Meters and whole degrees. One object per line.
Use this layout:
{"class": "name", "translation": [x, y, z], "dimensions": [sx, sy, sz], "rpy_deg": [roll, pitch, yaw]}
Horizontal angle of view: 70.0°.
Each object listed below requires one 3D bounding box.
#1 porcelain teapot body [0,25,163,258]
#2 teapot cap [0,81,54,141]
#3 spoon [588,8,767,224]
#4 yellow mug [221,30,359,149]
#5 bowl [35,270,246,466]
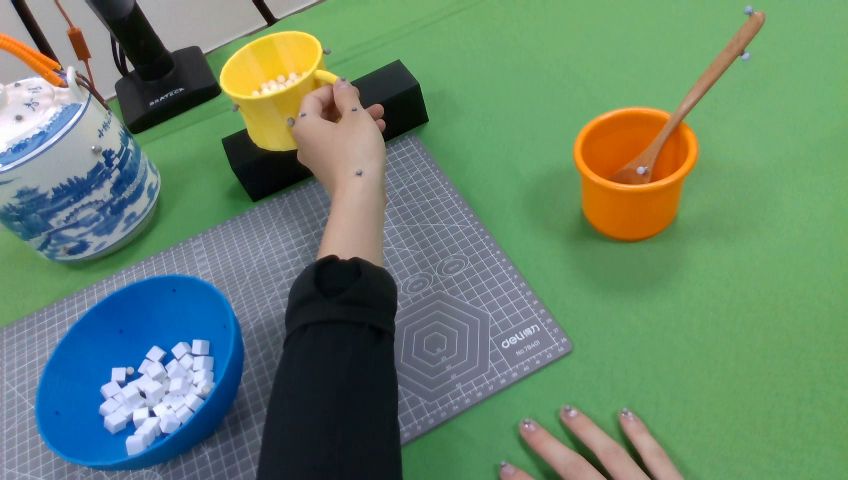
{"class": "porcelain teapot body", "translation": [-0.389, -0.082, 0.564], "dimensions": [0.205, 0.228, 0.143], "rpy_deg": [-23, 52, -2]}
{"class": "teapot cap", "translation": [-0.370, -0.115, 0.534], "dimensions": [0.085, 0.044, 0.084], "rpy_deg": [-8, 53, 11]}
{"class": "spoon", "translation": [0.195, -0.091, 0.473], "dimensions": [0.022, 0.194, 0.041], "rpy_deg": [3, 39, -43]}
{"class": "yellow mug", "translation": [-0.121, -0.144, 0.581], "dimensions": [0.130, 0.064, 0.099], "rpy_deg": [11, 57, 21]}
{"class": "bowl", "translation": [-0.197, 0.106, 0.461], "dimensions": [0.151, 0.077, 0.150], "rpy_deg": [-7, 52, 9]}
